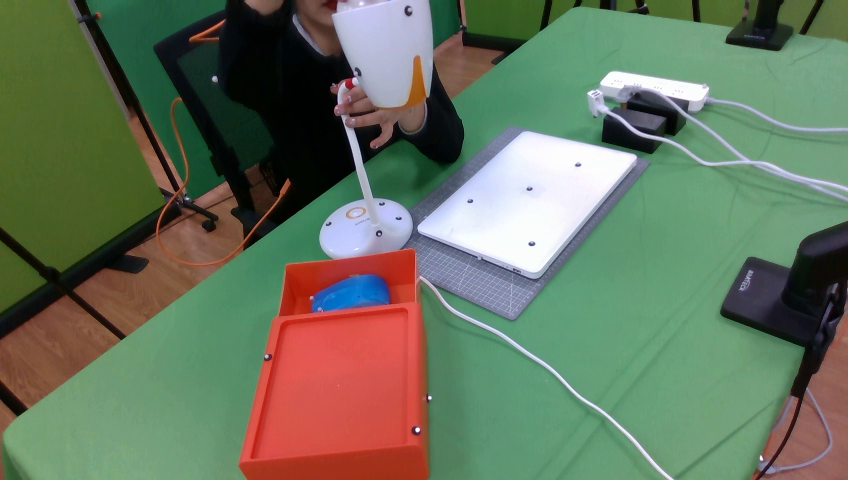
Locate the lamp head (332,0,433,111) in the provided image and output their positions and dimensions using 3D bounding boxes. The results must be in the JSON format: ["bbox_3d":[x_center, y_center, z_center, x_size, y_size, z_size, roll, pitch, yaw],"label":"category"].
[{"bbox_3d":[-0.041,-0.213,0.705,0.112,0.123,0.112,-8,25,4],"label":"lamp head"}]

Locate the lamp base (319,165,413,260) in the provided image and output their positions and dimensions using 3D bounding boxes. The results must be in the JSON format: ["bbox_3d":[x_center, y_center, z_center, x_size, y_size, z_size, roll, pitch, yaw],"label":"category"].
[{"bbox_3d":[-0.101,-0.068,0.960,0.161,0.181,0.177,-30,48,-21],"label":"lamp base"}]

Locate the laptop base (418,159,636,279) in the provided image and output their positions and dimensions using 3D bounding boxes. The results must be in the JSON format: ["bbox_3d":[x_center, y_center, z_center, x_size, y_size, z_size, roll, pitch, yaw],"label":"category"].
[{"bbox_3d":[0.185,-0.074,1.042,0.233,0.023,0.355,19,48,35],"label":"laptop base"}]

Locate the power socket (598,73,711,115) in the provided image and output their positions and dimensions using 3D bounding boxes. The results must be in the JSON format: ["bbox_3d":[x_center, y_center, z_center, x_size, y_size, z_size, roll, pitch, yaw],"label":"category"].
[{"bbox_3d":[0.469,-0.304,1.249,0.225,0.033,0.072,20,49,30],"label":"power socket"}]

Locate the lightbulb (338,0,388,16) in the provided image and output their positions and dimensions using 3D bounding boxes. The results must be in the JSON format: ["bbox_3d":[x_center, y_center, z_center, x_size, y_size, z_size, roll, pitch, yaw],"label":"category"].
[{"bbox_3d":[-0.056,-0.238,0.696,0.059,0.108,0.059,-31,10,6],"label":"lightbulb"}]

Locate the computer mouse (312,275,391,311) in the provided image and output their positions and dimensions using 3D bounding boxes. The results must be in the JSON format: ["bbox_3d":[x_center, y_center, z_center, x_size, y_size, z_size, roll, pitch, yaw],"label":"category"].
[{"bbox_3d":[-0.107,0.087,0.885,0.117,0.041,0.062,-14,40,0],"label":"computer mouse"}]

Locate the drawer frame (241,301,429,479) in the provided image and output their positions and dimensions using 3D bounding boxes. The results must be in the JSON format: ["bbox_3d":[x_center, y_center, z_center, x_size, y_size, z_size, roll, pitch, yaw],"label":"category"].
[{"bbox_3d":[-0.096,0.183,0.741,0.202,0.083,0.212,-6,40,3],"label":"drawer frame"}]

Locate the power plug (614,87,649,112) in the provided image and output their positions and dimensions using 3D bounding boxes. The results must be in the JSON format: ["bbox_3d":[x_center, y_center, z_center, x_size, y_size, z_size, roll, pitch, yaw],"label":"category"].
[{"bbox_3d":[0.406,-0.275,1.193,0.035,0.053,0.072,-15,24,-15],"label":"power plug"}]

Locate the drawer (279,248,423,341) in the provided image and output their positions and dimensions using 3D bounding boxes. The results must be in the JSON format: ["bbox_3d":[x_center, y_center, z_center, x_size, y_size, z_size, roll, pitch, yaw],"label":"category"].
[{"bbox_3d":[-0.100,0.114,0.828,0.194,0.073,0.210,-7,40,2],"label":"drawer"}]

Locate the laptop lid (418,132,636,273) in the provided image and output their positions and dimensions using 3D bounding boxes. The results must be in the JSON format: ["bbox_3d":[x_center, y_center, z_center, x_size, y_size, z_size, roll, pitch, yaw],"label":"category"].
[{"bbox_3d":[0.182,-0.084,1.036,0.239,0.013,0.358,22,49,35],"label":"laptop lid"}]

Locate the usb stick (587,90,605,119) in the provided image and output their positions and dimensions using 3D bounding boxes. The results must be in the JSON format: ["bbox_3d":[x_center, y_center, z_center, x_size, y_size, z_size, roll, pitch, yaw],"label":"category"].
[{"bbox_3d":[0.334,-0.258,1.170,0.021,0.059,0.027,-28,44,-6],"label":"usb stick"}]
